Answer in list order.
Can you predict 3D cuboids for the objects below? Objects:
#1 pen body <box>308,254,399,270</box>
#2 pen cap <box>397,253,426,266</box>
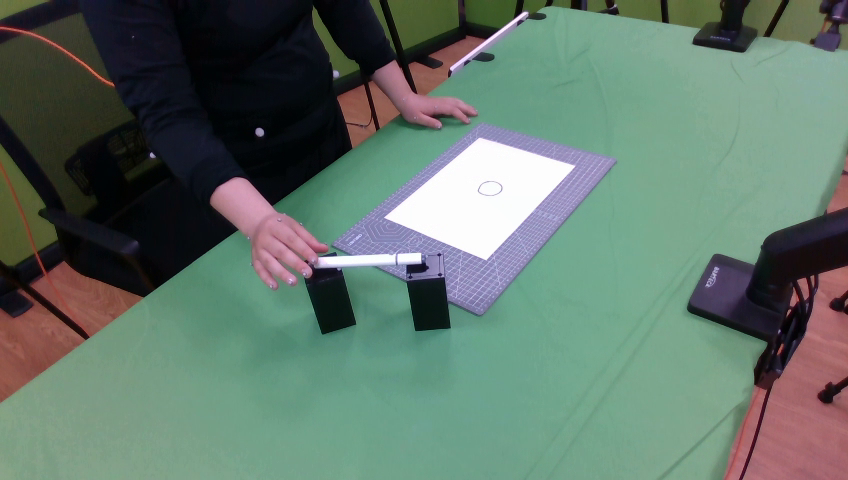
[{"bbox_3d":[-0.080,0.029,0.798,0.144,0.017,0.017,-4,40,4],"label":"pen body"},{"bbox_3d":[-0.016,0.026,0.791,0.038,0.017,0.017,-3,40,3],"label":"pen cap"}]
